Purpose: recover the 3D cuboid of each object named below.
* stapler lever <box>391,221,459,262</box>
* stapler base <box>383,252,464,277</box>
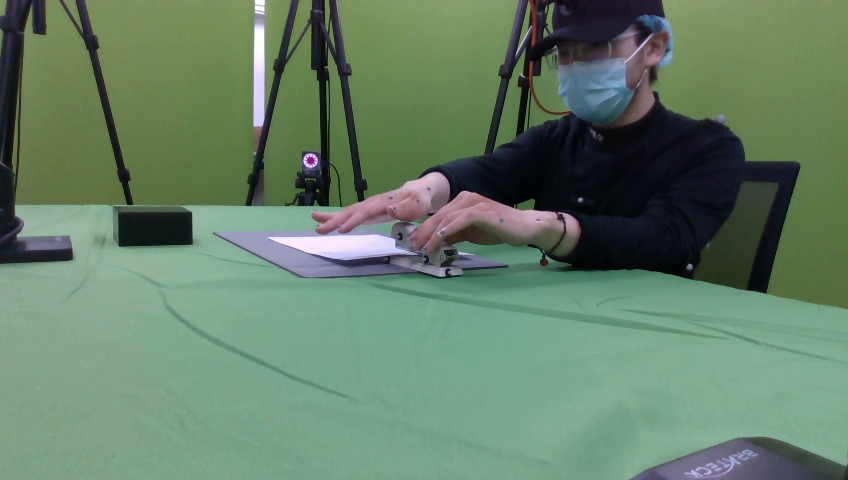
[{"bbox_3d":[-0.001,0.001,0.785,0.027,0.040,0.117,-6,12,-38],"label":"stapler lever"},{"bbox_3d":[-0.004,0.024,0.790,0.041,0.024,0.130,-6,13,-38],"label":"stapler base"}]
